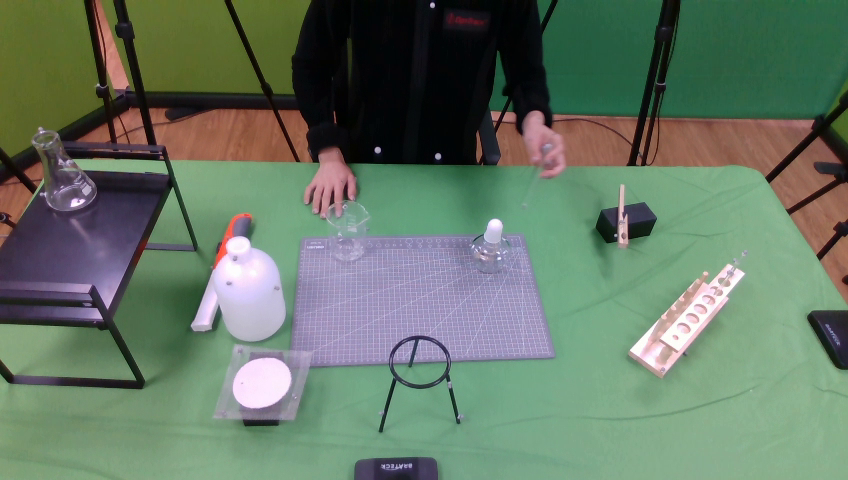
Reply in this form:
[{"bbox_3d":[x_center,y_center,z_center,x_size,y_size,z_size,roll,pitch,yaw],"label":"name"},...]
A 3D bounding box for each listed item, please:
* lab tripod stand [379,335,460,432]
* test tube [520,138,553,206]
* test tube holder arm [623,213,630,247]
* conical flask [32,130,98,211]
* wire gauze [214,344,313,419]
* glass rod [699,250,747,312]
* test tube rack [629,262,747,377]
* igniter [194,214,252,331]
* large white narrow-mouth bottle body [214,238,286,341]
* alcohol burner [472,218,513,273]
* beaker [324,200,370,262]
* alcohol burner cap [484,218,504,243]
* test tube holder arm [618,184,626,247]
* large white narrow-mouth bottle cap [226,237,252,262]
[{"bbox_3d":[-0.010,0.214,0.912,0.148,0.132,0.147,1,45,0],"label":"lab tripod stand"},{"bbox_3d":[0.201,-0.118,1.091,0.017,0.151,0.017,8,45,-7],"label":"test tube"},{"bbox_3d":[0.393,-0.020,1.179,0.010,0.015,0.087,14,46,0],"label":"test tube holder arm"},{"bbox_3d":[-0.565,-0.110,0.944,0.075,0.122,0.075,2,46,-2],"label":"conical flask"},{"bbox_3d":[-0.241,0.213,0.915,0.121,0.011,0.124,5,46,1],"label":"wire gauze"},{"bbox_3d":[0.500,0.074,1.021,0.008,0.201,0.008,0,55,1],"label":"glass rod"},{"bbox_3d":[0.464,0.126,1.060,0.242,0.085,0.066,-34,56,-31],"label":"test tube rack"},{"bbox_3d":[-0.367,0.050,1.119,0.057,0.025,0.275,-4,46,7],"label":"igniter"},{"bbox_3d":[-0.285,0.073,0.986,0.102,0.195,0.101,2,46,-2],"label":"large white narrow-mouth bottle body"},{"bbox_3d":[0.128,0.005,1.132,0.078,0.120,0.077,0,47,0],"label":"alcohol burner"},{"bbox_3d":[-0.143,-0.015,1.142,0.084,0.101,0.073,1,46,-4],"label":"beaker"},{"bbox_3d":[0.130,-0.021,1.106,0.034,0.048,0.033,3,52,-4],"label":"alcohol burner cap"},{"bbox_3d":[0.396,-0.053,1.210,0.013,0.015,0.177,15,46,1],"label":"test tube holder arm"},{"bbox_3d":[-0.282,0.014,0.923,0.038,0.024,0.037,2,46,-2],"label":"large white narrow-mouth bottle cap"}]
